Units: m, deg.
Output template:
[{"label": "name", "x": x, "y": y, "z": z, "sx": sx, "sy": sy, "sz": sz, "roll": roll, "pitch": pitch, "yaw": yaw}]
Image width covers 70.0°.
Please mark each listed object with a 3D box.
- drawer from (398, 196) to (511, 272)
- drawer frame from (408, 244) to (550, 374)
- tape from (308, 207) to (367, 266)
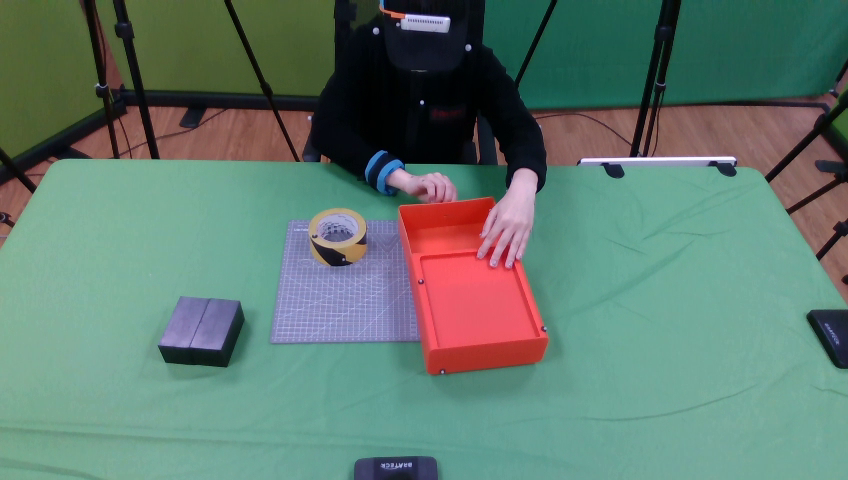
[{"label": "drawer", "x": 0.063, "y": 0.018, "z": 1.140, "sx": 0.195, "sy": 0.073, "sz": 0.210, "roll": -5, "pitch": 47, "yaw": -10}, {"label": "drawer frame", "x": 0.087, "y": 0.112, "z": 1.049, "sx": 0.202, "sy": 0.083, "sz": 0.212, "roll": -5, "pitch": 47, "yaw": -9}, {"label": "tape", "x": -0.167, "y": -0.008, "z": 1.167, "sx": 0.117, "sy": 0.053, "sz": 0.116, "roll": 3, "pitch": 46, "yaw": -3}]
